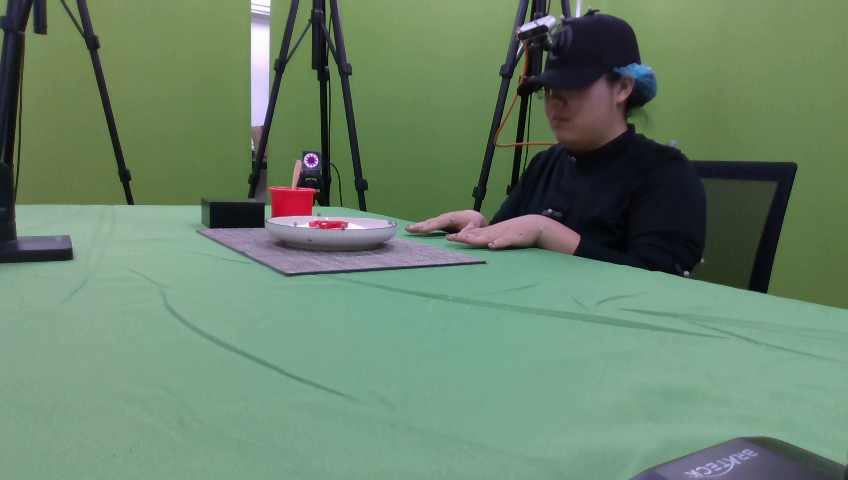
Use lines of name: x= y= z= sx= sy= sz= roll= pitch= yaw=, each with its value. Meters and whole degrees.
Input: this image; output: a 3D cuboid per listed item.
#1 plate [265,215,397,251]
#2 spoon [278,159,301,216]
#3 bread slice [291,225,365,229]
plate: x=-0.147 y=-0.012 z=0.963 sx=0.209 sy=0.038 sz=0.209 roll=3 pitch=7 yaw=0
spoon: x=-0.275 y=-0.108 z=1.278 sx=0.042 sy=0.021 sz=0.193 roll=3 pitch=51 yaw=-3
bread slice: x=-0.154 y=-0.012 z=0.973 sx=0.132 sy=0.019 sz=0.104 roll=-1 pitch=7 yaw=-31
